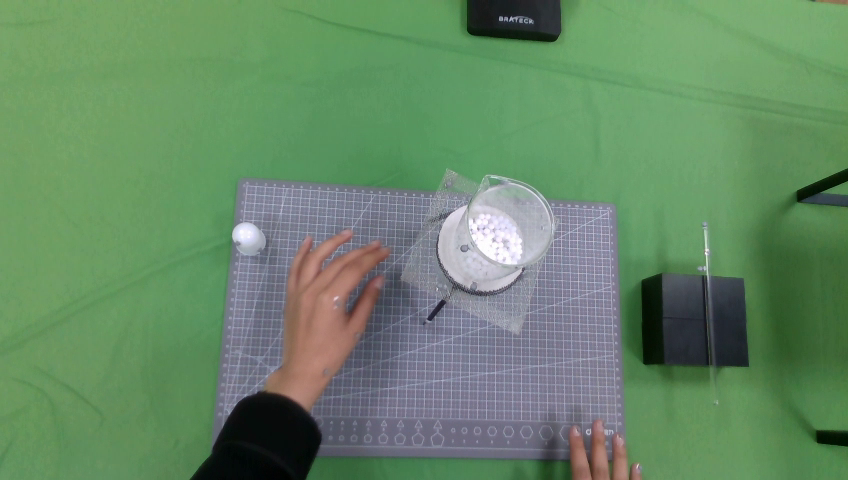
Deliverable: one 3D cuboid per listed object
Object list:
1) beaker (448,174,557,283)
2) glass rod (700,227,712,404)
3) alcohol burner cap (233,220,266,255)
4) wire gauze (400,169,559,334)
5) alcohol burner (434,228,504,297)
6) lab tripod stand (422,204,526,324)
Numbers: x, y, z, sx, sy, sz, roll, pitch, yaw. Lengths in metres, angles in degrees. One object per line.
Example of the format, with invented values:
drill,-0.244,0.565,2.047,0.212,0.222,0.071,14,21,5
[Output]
beaker,0.061,-0.005,0.528,0.074,0.100,0.083,-20,81,-13
glass rod,0.316,0.082,0.680,0.008,0.008,0.199,5,78,-6
alcohol burner cap,-0.191,-0.004,0.658,0.034,0.048,0.033,2,77,-7
wire gauze,0.055,0.009,0.575,0.125,0.011,0.121,26,77,-5
alcohol burner,0.052,0.021,0.649,0.078,0.119,0.077,2,78,-9
lab tripod stand,0.050,0.022,0.638,0.149,0.132,0.147,2,76,-8
